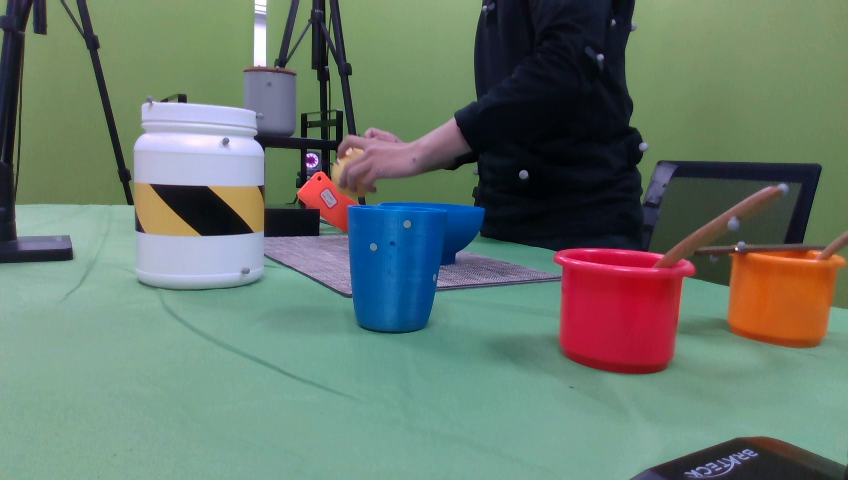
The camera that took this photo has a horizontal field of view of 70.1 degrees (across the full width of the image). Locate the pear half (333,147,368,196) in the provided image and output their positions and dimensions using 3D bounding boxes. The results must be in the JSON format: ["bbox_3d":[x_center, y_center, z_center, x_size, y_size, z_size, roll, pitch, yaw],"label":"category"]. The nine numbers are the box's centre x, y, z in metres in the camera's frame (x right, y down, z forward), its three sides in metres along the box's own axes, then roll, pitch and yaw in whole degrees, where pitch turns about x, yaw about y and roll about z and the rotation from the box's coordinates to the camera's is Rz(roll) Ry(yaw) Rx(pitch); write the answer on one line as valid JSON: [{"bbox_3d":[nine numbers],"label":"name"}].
[{"bbox_3d":[-0.131,-0.120,1.042,0.070,0.088,0.031,12,3,20],"label":"pear half"}]

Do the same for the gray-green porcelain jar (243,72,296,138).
[{"bbox_3d":[-0.322,-0.279,1.263,0.106,0.126,0.106,3,8,0],"label":"gray-green porcelain jar"}]

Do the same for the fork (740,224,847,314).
[{"bbox_3d":[0.323,0.013,0.485,0.028,0.018,0.207,9,-38,-5],"label":"fork"}]

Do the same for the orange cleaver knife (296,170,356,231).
[{"bbox_3d":[-0.150,-0.058,1.170,0.212,0.077,0.012,33,-14,-32],"label":"orange cleaver knife"}]

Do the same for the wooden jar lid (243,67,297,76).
[{"bbox_3d":[-0.319,-0.342,1.254,0.108,0.020,0.108,3,8,0],"label":"wooden jar lid"}]

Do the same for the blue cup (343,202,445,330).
[{"bbox_3d":[-0.027,0.021,0.510,0.093,0.100,0.092,3,5,0],"label":"blue cup"}]

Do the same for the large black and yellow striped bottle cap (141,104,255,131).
[{"bbox_3d":[-0.241,-0.131,0.650,0.115,0.019,0.115,4,8,0],"label":"large black and yellow striped bottle cap"}]

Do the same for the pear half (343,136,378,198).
[{"bbox_3d":[-0.114,-0.129,1.074,0.076,0.109,0.056,11,4,21],"label":"pear half"}]

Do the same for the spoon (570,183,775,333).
[{"bbox_3d":[0.160,0.020,0.413,0.042,0.021,0.193,0,-36,-23],"label":"spoon"}]

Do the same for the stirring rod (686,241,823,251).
[{"bbox_3d":[0.289,0.005,0.525,0.177,0.006,0.014,-1,6,-26],"label":"stirring rod"}]

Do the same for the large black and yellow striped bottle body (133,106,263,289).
[{"bbox_3d":[-0.243,-0.048,0.659,0.131,0.184,0.130,2,7,0],"label":"large black and yellow striped bottle body"}]

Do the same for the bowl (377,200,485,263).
[{"bbox_3d":[0.008,-0.012,0.842,0.151,0.077,0.151,2,8,0],"label":"bowl"}]
